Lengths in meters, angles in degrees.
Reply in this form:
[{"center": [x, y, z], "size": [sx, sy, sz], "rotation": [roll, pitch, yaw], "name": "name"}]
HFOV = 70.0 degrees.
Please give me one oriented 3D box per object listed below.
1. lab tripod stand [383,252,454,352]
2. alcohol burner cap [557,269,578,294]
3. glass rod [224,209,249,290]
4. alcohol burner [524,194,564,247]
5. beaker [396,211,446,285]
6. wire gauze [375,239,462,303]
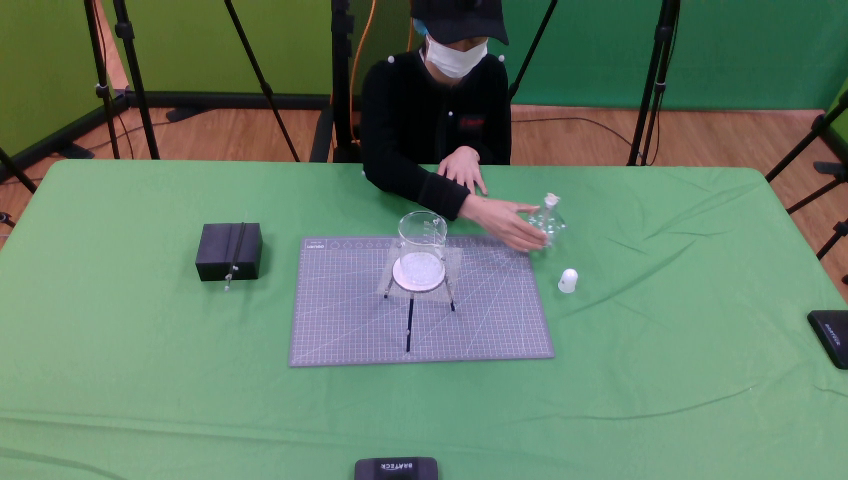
[{"center": [-0.015, 0.094, 1.025], "size": [0.148, 0.132, 0.147], "rotation": [1, 46, -1], "name": "lab tripod stand"}, {"center": [0.270, 0.075, 1.135], "size": [0.034, 0.048, 0.033], "rotation": [3, 46, -3], "name": "alcohol burner cap"}, {"center": [-0.340, 0.013, 1.102], "size": [0.008, 0.008, 0.198], "rotation": [2, 45, -3], "name": "glass rod"}, {"center": [0.234, -0.044, 1.163], "size": [0.078, 0.119, 0.077], "rotation": [3, 47, -3], "name": "alcohol burner"}, {"center": [-0.002, 0.017, 0.941], "size": [0.083, 0.101, 0.074], "rotation": [36, 54, 29], "name": "beaker"}, {"center": [-0.006, 0.049, 0.978], "size": [0.121, 0.011, 0.124], "rotation": [10, 44, 5], "name": "wire gauze"}]
